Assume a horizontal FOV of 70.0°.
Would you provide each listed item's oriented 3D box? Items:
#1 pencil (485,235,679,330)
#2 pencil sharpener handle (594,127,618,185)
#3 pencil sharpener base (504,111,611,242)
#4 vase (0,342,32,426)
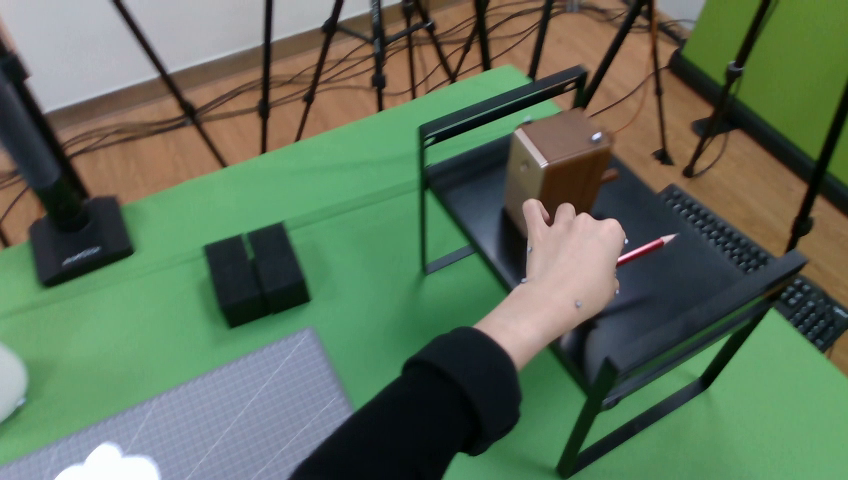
[{"bbox_3d":[0.141,0.034,0.525,0.194,0.012,0.012,-24,54,-11],"label":"pencil"},{"bbox_3d":[0.175,-0.082,0.587,0.031,0.068,0.035,-19,42,-15],"label":"pencil sharpener handle"},{"bbox_3d":[0.127,-0.060,0.585,0.077,0.108,0.060,-19,53,-15],"label":"pencil sharpener base"},{"bbox_3d":[-0.494,0.121,0.617,0.098,0.202,0.097,-1,51,2],"label":"vase"}]
